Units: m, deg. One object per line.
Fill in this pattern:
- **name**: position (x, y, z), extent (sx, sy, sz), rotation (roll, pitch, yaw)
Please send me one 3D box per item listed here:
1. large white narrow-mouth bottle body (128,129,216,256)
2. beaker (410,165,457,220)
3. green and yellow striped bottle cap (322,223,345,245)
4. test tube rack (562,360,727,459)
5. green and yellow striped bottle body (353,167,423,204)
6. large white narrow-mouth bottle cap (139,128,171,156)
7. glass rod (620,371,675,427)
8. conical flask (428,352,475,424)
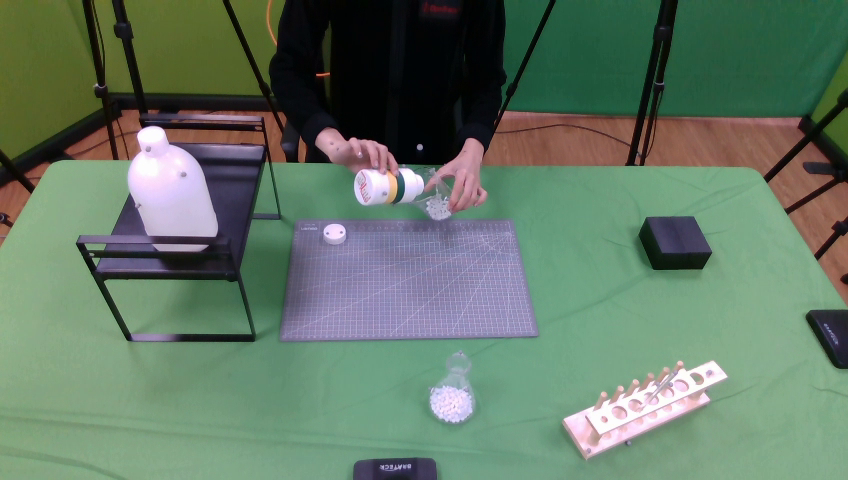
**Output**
- **large white narrow-mouth bottle body**: position (-0.366, -0.073, 0.872), extent (0.102, 0.195, 0.101), rotation (3, 47, -3)
- **beaker**: position (0.014, -0.085, 1.148), extent (0.083, 0.101, 0.074), rotation (34, 88, 36)
- **green and yellow striped bottle cap**: position (-0.178, -0.013, 1.197), extent (0.045, 0.020, 0.045), rotation (2, 49, -2)
- **test tube rack**: position (0.341, 0.247, 0.940), extent (0.243, 0.085, 0.066), rotation (-16, 49, -18)
- **green and yellow striped bottle body**: position (-0.059, -0.096, 1.064), extent (0.120, 0.063, 0.063), rotation (-7, 43, -40)
- **large white narrow-mouth bottle cap**: position (-0.359, -0.131, 0.808), extent (0.038, 0.024, 0.037), rotation (3, 47, -3)
- **glass rod**: position (0.316, 0.230, 0.863), extent (0.008, 0.200, 0.008), rotation (3, 54, -3)
- **conical flask**: position (0.046, 0.220, 0.920), extent (0.075, 0.122, 0.075), rotation (2, 46, -2)
